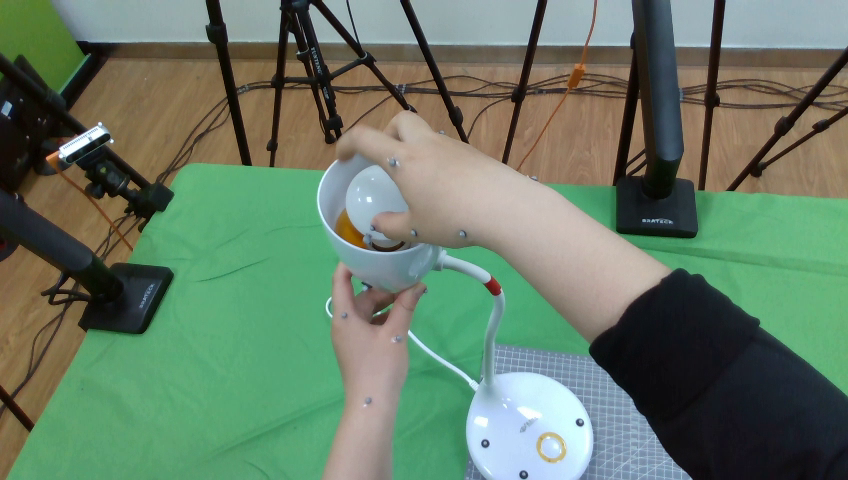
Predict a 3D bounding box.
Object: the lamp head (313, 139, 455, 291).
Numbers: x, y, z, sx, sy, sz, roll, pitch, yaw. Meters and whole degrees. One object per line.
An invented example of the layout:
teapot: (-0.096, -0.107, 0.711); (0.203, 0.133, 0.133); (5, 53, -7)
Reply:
lamp head: (-0.028, -0.008, 0.524); (0.112, 0.124, 0.111); (-2, 57, 4)

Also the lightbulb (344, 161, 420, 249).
lightbulb: (-0.033, -0.021, 0.497); (0.059, 0.108, 0.059); (0, 63, 0)

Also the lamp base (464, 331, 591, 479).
lamp base: (0.112, 0.188, 0.721); (0.177, 0.182, 0.160); (28, 61, 29)
